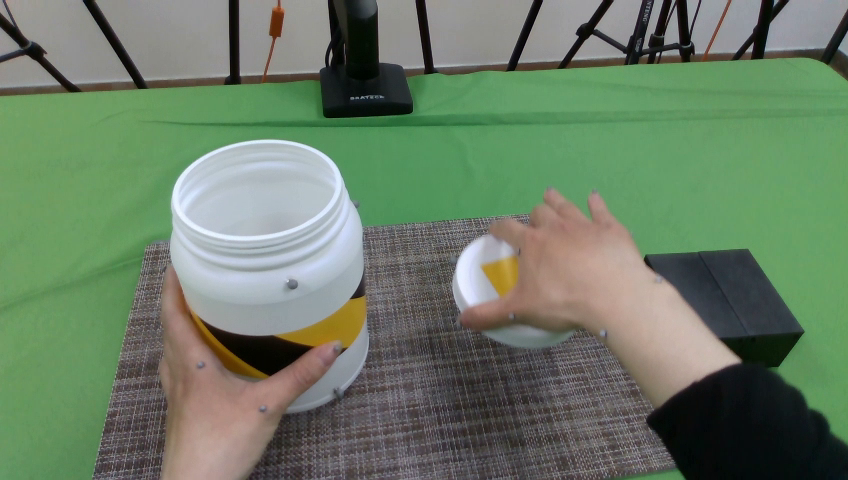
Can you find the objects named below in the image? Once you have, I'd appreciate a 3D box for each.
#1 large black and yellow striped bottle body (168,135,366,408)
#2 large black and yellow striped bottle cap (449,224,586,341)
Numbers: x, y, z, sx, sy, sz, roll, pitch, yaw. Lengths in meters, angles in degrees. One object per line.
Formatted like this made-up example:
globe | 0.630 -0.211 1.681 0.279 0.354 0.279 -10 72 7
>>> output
large black and yellow striped bottle body | -0.112 0.026 0.458 0.131 0.185 0.129 2 44 -1
large black and yellow striped bottle cap | 0.078 0.032 0.508 0.115 0.019 0.114 4 47 -4
